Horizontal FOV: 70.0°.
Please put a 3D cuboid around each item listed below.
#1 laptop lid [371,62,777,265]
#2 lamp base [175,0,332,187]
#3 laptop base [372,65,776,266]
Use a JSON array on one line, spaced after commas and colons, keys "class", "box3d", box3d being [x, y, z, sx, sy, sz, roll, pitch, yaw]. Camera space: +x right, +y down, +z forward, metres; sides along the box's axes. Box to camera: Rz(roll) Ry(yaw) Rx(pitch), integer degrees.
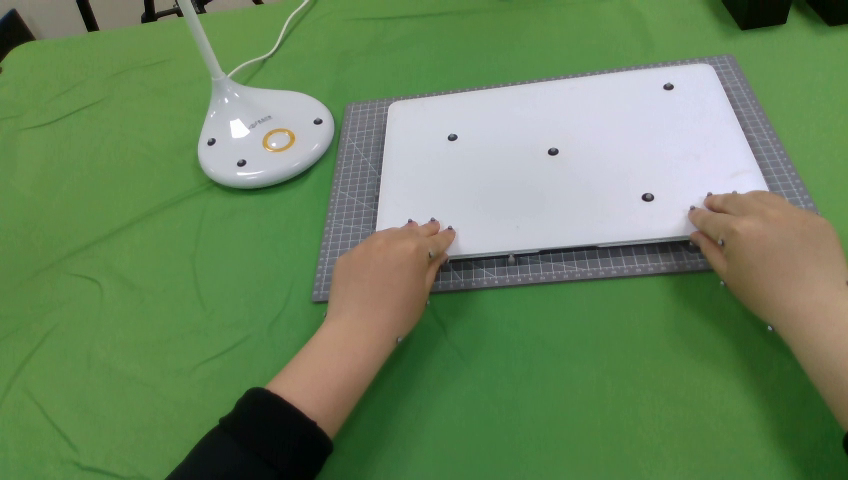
[{"class": "laptop lid", "box3d": [0.126, -0.084, 0.596, 0.356, 0.013, 0.239, -4, 51, 9]}, {"class": "lamp base", "box3d": [-0.208, -0.175, 0.656, 0.177, 0.182, 0.160, 27, 60, 34]}, {"class": "laptop base", "box3d": [0.128, -0.078, 0.607, 0.354, 0.023, 0.233, -5, 52, 8]}]
